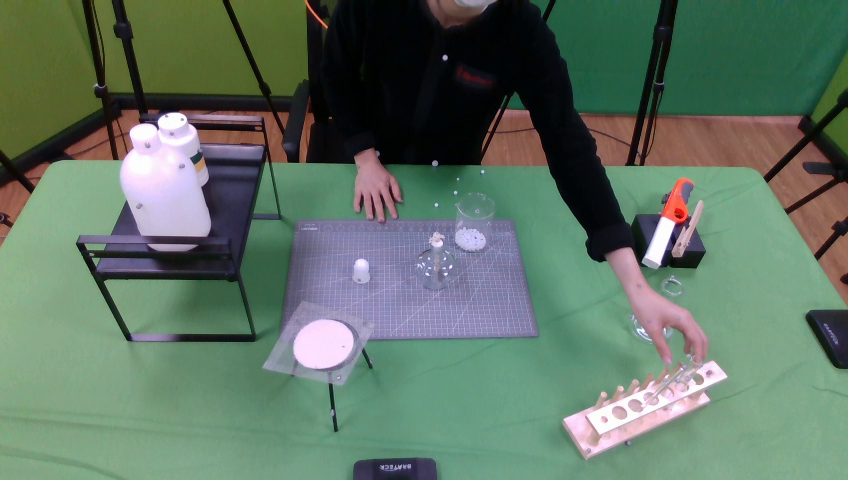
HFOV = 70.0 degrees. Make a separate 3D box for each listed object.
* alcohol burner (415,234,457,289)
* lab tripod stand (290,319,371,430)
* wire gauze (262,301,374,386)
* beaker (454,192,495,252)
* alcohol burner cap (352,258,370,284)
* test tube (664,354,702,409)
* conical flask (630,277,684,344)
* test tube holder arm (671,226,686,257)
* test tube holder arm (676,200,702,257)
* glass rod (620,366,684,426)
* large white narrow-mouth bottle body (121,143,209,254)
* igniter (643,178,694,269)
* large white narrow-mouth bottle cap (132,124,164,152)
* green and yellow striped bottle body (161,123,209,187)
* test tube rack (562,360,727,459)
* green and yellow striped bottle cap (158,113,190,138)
[{"bbox_3d":[0.022,0.034,1.100,0.078,0.120,0.077,1,47,0],"label":"alcohol burner"},{"bbox_3d":[-0.146,0.194,0.923,0.148,0.132,0.147,1,47,-1],"label":"lab tripod stand"},{"bbox_3d":[-0.151,0.148,0.873,0.121,0.011,0.124,14,46,12],"label":"wire gauze"},{"bbox_3d":[0.097,-0.034,1.180,0.074,0.101,0.084,23,49,16],"label":"beaker"},{"bbox_3d":[-0.117,0.055,1.118,0.034,0.048,0.033,2,46,-2],"label":"alcohol burner cap"},{"bbox_3d":[0.385,0.215,0.906,0.017,0.151,0.017,-1,50,1],"label":"test tube"},{"bbox_3d":[0.408,0.117,1.045,0.075,0.122,0.075,2,46,-2],"label":"conical flask"},{"bbox_3d":[0.494,0.001,1.166,0.010,0.015,0.087,0,36,42],"label":"test tube holder arm"},{"bbox_3d":[0.522,-0.025,1.190,0.013,0.015,0.178,-1,35,41],"label":"test tube holder arm"},{"bbox_3d":[0.322,0.227,0.866,0.008,0.200,0.008,6,51,-7],"label":"glass rod"},{"bbox_3d":[-0.377,-0.077,0.875,0.102,0.195,0.101,3,46,-3],"label":"large white narrow-mouth bottle body"},{"bbox_3d":[0.488,-0.042,1.204,0.057,0.025,0.276,30,52,11],"label":"igniter"},{"bbox_3d":[-0.370,-0.137,0.812,0.038,0.024,0.037,3,46,-3],"label":"large white narrow-mouth bottle cap"},{"bbox_3d":[-0.395,-0.145,0.989,0.063,0.120,0.063,2,46,-2],"label":"green and yellow striped bottle body"},{"bbox_3d":[0.341,0.247,0.940,0.243,0.085,0.066,-16,49,-18],"label":"test tube rack"},{"bbox_3d":[-0.392,-0.179,0.951,0.045,0.020,0.045,2,44,-2],"label":"green and yellow striped bottle cap"}]
